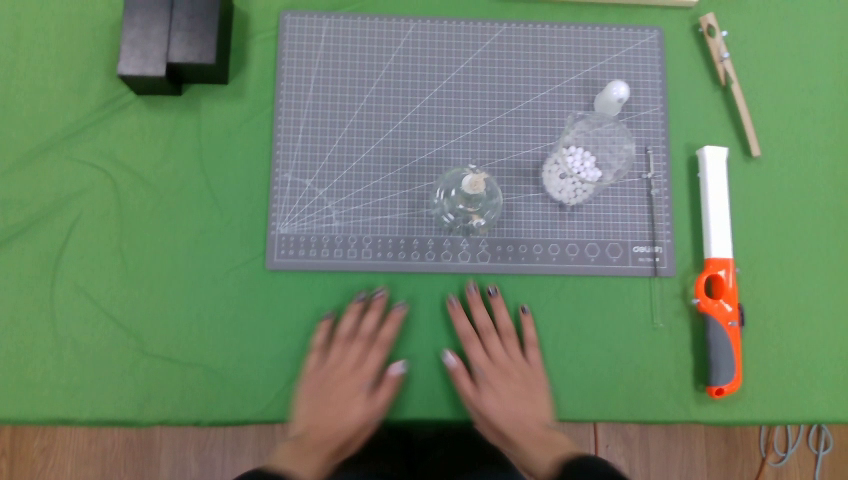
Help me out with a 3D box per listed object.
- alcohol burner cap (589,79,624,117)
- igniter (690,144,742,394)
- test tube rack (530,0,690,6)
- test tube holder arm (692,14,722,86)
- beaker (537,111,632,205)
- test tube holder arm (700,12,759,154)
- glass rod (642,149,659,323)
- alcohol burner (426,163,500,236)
[{"bbox_3d":[0.209,-0.163,0.685,0.034,0.048,0.033,0,80,-3],"label":"alcohol burner cap"},{"bbox_3d":[0.320,0.029,0.670,0.057,0.025,0.275,3,80,-13],"label":"igniter"},{"bbox_3d":[0.200,-0.325,0.693,0.242,0.085,0.066,1,80,-3],"label":"test tube rack"},{"bbox_3d":[0.339,-0.225,0.719,0.010,0.015,0.087,-21,82,27],"label":"test tube holder arm"},{"bbox_3d":[0.162,-0.084,0.640,0.074,0.100,0.083,-32,82,-8],"label":"beaker"},{"bbox_3d":[0.357,-0.185,0.711,0.013,0.015,0.178,-23,81,27],"label":"test tube holder arm"},{"bbox_3d":[0.253,-0.007,0.679,0.008,0.008,0.199,1,80,-4],"label":"glass rod"},{"bbox_3d":[0.042,-0.046,0.619,0.078,0.119,0.077,1,78,-2],"label":"alcohol burner"}]
